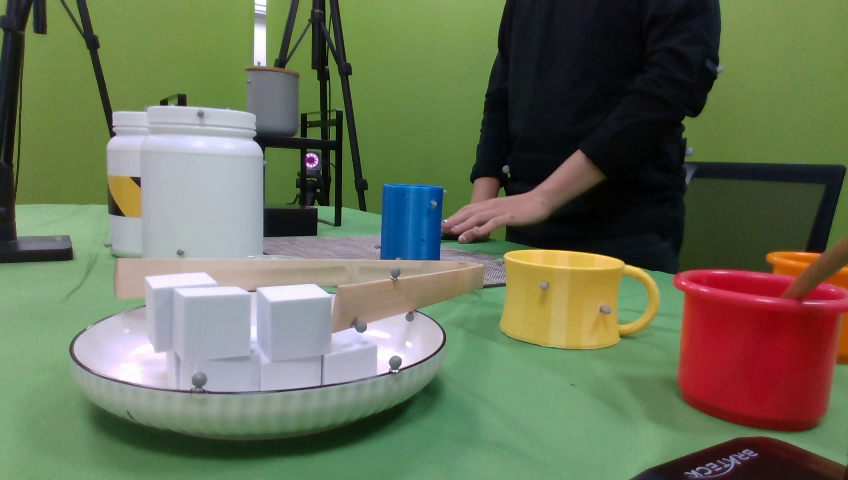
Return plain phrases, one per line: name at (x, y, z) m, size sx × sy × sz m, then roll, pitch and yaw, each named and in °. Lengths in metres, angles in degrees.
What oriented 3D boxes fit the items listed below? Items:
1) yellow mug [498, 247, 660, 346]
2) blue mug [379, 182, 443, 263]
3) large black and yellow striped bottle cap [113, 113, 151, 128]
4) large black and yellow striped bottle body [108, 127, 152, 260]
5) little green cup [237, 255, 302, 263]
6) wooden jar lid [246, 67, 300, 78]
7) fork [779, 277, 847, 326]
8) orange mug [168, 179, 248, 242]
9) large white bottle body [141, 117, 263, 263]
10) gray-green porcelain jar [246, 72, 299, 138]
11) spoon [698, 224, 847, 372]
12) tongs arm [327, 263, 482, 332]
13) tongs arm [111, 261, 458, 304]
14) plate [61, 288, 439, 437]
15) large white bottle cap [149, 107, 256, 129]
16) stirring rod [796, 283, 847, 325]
yellow mug at (0.130, 0.045, 0.508) m, size 0.131 × 0.064 × 0.100 m, roll 4°, pitch 7°, yaw 6°
blue mug at (-0.020, -0.026, 0.833) m, size 0.082 × 0.106 × 0.116 m, roll 1°, pitch 7°, yaw -7°
large black and yellow striped bottle cap at (-0.348, -0.154, 0.800) m, size 0.115 × 0.019 × 0.115 m, roll 2°, pitch 6°, yaw 0°
large black and yellow striped bottle body at (-0.350, -0.071, 0.812) m, size 0.131 × 0.184 × 0.130 m, roll 2°, pitch 7°, yaw 0°
little green cup at (-0.150, 0.038, 0.590) m, size 0.061 × 0.038 × 0.061 m, roll 3°, pitch 6°, yaw 0°
wooden jar lid at (-0.312, -0.339, 1.248) m, size 0.108 × 0.020 × 0.108 m, roll 4°, pitch 8°, yaw 0°
fork at (0.335, 0.018, 0.443) m, size 0.028 × 0.018 × 0.207 m, roll -1°, pitch -36°, yaw -20°
orange mug at (-0.351, -0.050, 0.986) m, size 0.126 × 0.101 × 0.083 m, roll -3°, pitch 8°, yaw -9°
large white bottle body at (-0.254, -0.054, 0.697) m, size 0.131 × 0.184 × 0.130 m, roll 2°, pitch 7°, yaw 0°
gray-green porcelain jar at (-0.314, -0.277, 1.256) m, size 0.106 × 0.126 × 0.106 m, roll 3°, pitch 8°, yaw 0°
spoon at (0.195, 0.032, 0.323) m, size 0.041 × 0.021 × 0.194 m, roll 1°, pitch -36°, yaw 2°
tongs arm at (-0.003, 0.036, 0.493) m, size 0.050 × 0.026 × 0.386 m, roll 1°, pitch 0°, yaw 19°
tongs arm at (-0.080, 0.032, 0.527) m, size 0.028 × 0.027 × 0.389 m, roll -3°, pitch -3°, yaw 33°
plate at (-0.095, 0.069, 0.362) m, size 0.208 × 0.039 × 0.207 m, roll 3°, pitch 7°, yaw 0°
large white bottle cap at (-0.250, -0.137, 0.686) m, size 0.115 × 0.018 × 0.115 m, roll 2°, pitch 8°, yaw 0°
stirring rod at (0.346, 0.019, 0.460) m, size 0.014 × 0.176 × 0.006 m, roll -16°, pitch 59°, yaw -26°
